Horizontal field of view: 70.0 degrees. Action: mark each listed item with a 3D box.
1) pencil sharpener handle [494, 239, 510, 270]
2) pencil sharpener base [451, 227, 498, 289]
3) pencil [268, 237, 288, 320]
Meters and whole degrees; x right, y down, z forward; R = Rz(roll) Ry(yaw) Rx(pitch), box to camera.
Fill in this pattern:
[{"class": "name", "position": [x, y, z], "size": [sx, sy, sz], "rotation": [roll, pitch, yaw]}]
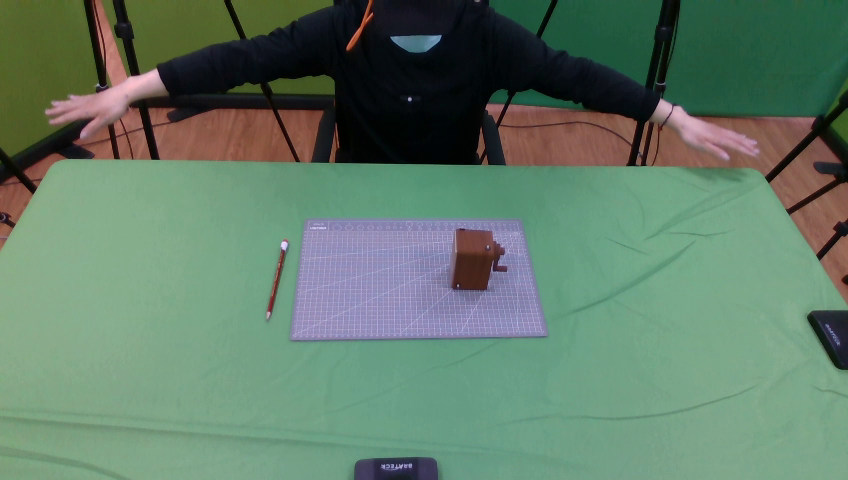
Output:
[{"class": "pencil sharpener handle", "position": [0.143, 0.029, 1.094], "size": [0.030, 0.068, 0.036], "rotation": [3, 42, -1]}, {"class": "pencil sharpener base", "position": [0.091, 0.034, 1.103], "size": [0.077, 0.107, 0.061], "rotation": [3, 46, -1]}, {"class": "pencil", "position": [-0.271, 0.068, 1.119], "size": [0.012, 0.012, 0.193], "rotation": [2, 48, -2]}]
